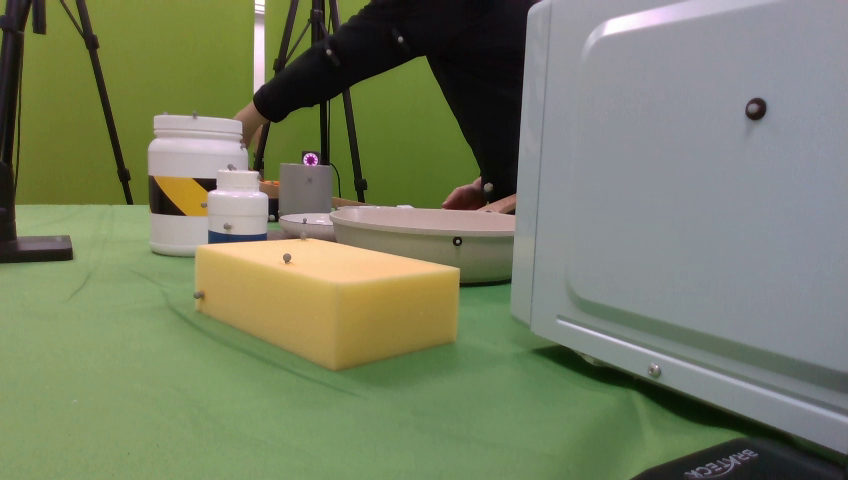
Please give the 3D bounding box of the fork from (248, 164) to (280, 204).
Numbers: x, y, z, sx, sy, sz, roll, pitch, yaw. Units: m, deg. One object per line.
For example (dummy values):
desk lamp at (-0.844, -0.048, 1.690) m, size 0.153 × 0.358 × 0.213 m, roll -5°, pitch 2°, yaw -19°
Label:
fork at (-0.398, -0.144, 1.489) m, size 0.028 × 0.018 × 0.208 m, roll 21°, pitch -25°, yaw 47°

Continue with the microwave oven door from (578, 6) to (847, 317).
microwave oven door at (0.294, -0.067, 0.570) m, size 0.358 × 0.243 × 0.039 m, roll -3°, pitch 9°, yaw -31°

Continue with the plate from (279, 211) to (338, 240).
plate at (-0.139, -0.022, 1.021) m, size 0.209 × 0.038 × 0.209 m, roll 2°, pitch 8°, yaw 0°

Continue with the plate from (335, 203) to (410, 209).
plate at (-0.089, -0.053, 1.309) m, size 0.208 × 0.039 × 0.207 m, roll 2°, pitch 8°, yaw 0°

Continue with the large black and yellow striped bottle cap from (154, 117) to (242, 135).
large black and yellow striped bottle cap at (-0.314, -0.158, 0.843) m, size 0.115 × 0.019 × 0.115 m, roll 3°, pitch 7°, yaw 0°

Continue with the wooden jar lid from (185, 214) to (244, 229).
wooden jar lid at (-0.404, -0.037, 1.169) m, size 0.108 × 0.020 × 0.108 m, roll 3°, pitch 7°, yaw 0°

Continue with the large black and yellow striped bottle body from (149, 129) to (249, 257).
large black and yellow striped bottle body at (-0.315, -0.075, 0.854) m, size 0.131 × 0.184 × 0.130 m, roll 2°, pitch 8°, yaw 0°

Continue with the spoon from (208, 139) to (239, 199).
spoon at (-0.466, -0.163, 1.405) m, size 0.022 × 0.194 × 0.041 m, roll -27°, pitch 55°, yaw -20°

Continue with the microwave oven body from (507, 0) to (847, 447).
microwave oven body at (0.331, -0.042, 0.425) m, size 0.444 × 0.260 × 0.324 m, roll -2°, pitch 8°, yaw -31°

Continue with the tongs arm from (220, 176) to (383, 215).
tongs arm at (-0.285, -0.104, 1.445) m, size 0.389 × 0.027 × 0.028 m, roll 9°, pitch -4°, yaw -23°

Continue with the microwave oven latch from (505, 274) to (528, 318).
microwave oven latch at (0.100, 0.041, 0.472) m, size 0.079 × 0.029 × 0.030 m, roll -2°, pitch 8°, yaw -29°

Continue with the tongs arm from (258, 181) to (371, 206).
tongs arm at (-0.241, -0.095, 1.373) m, size 0.387 × 0.026 × 0.050 m, roll 9°, pitch 0°, yaw -37°

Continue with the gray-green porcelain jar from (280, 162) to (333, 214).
gray-green porcelain jar at (-0.238, -0.092, 1.221) m, size 0.106 × 0.126 × 0.106 m, roll 2°, pitch 7°, yaw 0°

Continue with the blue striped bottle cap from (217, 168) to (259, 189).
blue striped bottle cap at (-0.202, -0.067, 0.657) m, size 0.044 × 0.020 × 0.044 m, roll 0°, pitch 11°, yaw 0°

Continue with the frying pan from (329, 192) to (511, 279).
frying pan at (0.072, -0.030, 0.883) m, size 0.305 × 0.102 × 0.490 m, roll 7°, pitch 17°, yaw 27°

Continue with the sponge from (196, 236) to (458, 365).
sponge at (-0.087, 0.039, 0.500) m, size 0.206 × 0.061 × 0.119 m, roll 8°, pitch 9°, yaw 44°

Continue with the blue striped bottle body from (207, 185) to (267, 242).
blue striped bottle body at (-0.204, -0.016, 0.663) m, size 0.063 × 0.120 × 0.063 m, roll 2°, pitch 7°, yaw 0°
